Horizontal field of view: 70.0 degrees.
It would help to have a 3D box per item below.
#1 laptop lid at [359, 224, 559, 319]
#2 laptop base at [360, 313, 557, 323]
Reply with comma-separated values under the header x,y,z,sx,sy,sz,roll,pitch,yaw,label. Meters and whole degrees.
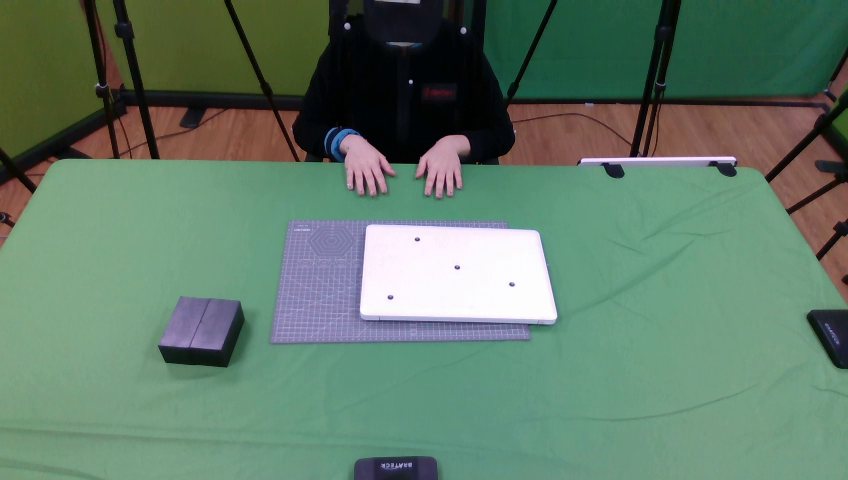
x,y,z,sx,sy,sz,roll,pitch,yaw,label
0.061,0.053,1.137,0.357,0.013,0.240,3,44,-2,laptop lid
0.061,0.063,1.145,0.355,0.023,0.234,2,43,-4,laptop base
